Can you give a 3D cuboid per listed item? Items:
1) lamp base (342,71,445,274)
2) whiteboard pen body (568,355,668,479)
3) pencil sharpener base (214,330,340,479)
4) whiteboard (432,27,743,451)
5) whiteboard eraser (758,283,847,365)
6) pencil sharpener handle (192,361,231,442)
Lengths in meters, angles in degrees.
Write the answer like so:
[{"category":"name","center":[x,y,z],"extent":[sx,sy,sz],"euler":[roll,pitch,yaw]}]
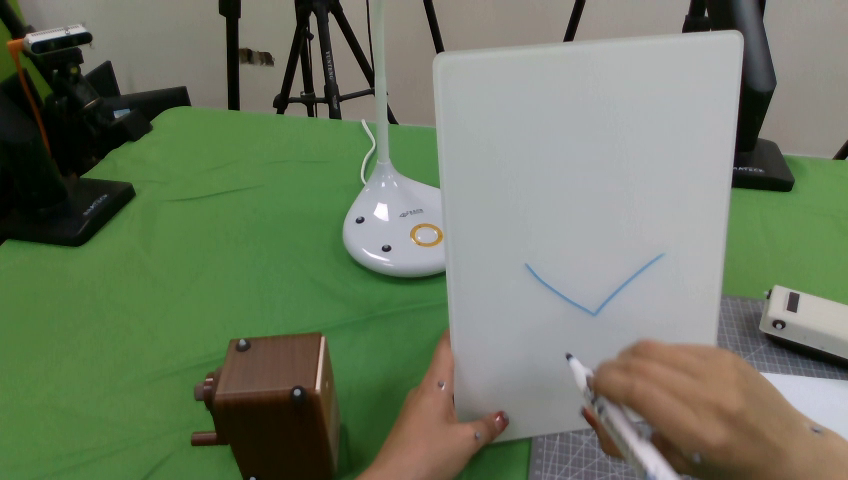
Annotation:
[{"category":"lamp base","center":[-0.024,-0.081,0.662],"extent":[0.161,0.182,0.177],"euler":[-25,41,-27]},{"category":"whiteboard pen body","center":[0.113,0.113,0.345],"extent":[0.017,0.017,0.139],"euler":[-10,34,-10]},{"category":"pencil sharpener base","center":[-0.107,0.126,0.456],"extent":[0.077,0.108,0.060],"euler":[-3,38,-2]},{"category":"whiteboard","center":[0.115,-0.009,0.511],"extent":[0.217,0.307,0.143],"euler":[-6,19,-5]},{"category":"whiteboard eraser","center":[0.370,0.081,0.551],"extent":[0.112,0.042,0.055],"euler":[19,43,25]},{"category":"pencil sharpener handle","center":[-0.159,0.121,0.443],"extent":[0.031,0.068,0.035],"euler":[-3,25,-2]}]
